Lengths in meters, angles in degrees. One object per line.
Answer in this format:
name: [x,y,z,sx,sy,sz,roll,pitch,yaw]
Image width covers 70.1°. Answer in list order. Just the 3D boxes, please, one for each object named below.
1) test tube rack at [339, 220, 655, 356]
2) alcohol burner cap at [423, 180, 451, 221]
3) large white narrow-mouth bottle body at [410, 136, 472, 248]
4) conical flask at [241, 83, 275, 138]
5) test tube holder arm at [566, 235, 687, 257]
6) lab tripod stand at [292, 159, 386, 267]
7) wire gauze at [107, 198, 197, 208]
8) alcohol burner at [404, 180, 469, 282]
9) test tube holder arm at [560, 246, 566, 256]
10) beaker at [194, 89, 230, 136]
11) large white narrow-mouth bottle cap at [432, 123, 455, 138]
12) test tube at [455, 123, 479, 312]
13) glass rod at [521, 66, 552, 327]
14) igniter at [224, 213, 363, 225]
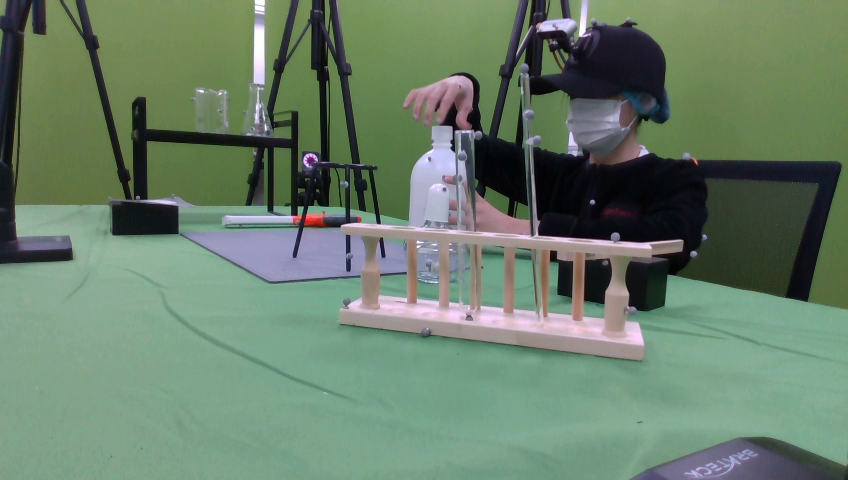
test tube rack: [0.056,0.032,0.495,0.242,0.085,0.067,4,7,15]
alcohol burner cap: [0.017,-0.047,0.711,0.034,0.048,0.034,8,5,0]
large white narrow-mouth bottle body: [0.029,-0.088,1.005,0.102,0.194,0.102,2,8,0]
conical flask: [-0.383,-0.297,1.392,0.075,0.122,0.075,2,7,0]
test tube holder arm: [0.215,0.006,0.630,0.179,0.015,0.013,-3,9,-30]
lab tripod stand: [-0.105,-0.039,0.798,0.148,0.131,0.148,2,5,0]
wire gauze: [-0.462,-0.064,1.023,0.126,0.011,0.121,-2,7,-32]
alcohol burner: [0.015,-0.011,0.715,0.078,0.119,0.078,0,7,0]
test tube holder arm: [0.173,0.007,0.611,0.088,0.015,0.010,-3,9,-30]
beaker: [-0.472,-0.283,1.352,0.074,0.100,0.083,-4,10,-35]
large white narrow-mouth bottle cap: [0.032,-0.180,0.991,0.038,0.024,0.037,2,8,0]
test tube: [0.034,-0.016,0.476,0.017,0.150,0.017,-2,10,1]
glass rod: [0.085,-0.028,0.454,0.008,0.199,0.008,-7,10,2]
igniter: [-0.255,-0.041,1.210,0.278,0.025,0.057,-2,-2,-31]
